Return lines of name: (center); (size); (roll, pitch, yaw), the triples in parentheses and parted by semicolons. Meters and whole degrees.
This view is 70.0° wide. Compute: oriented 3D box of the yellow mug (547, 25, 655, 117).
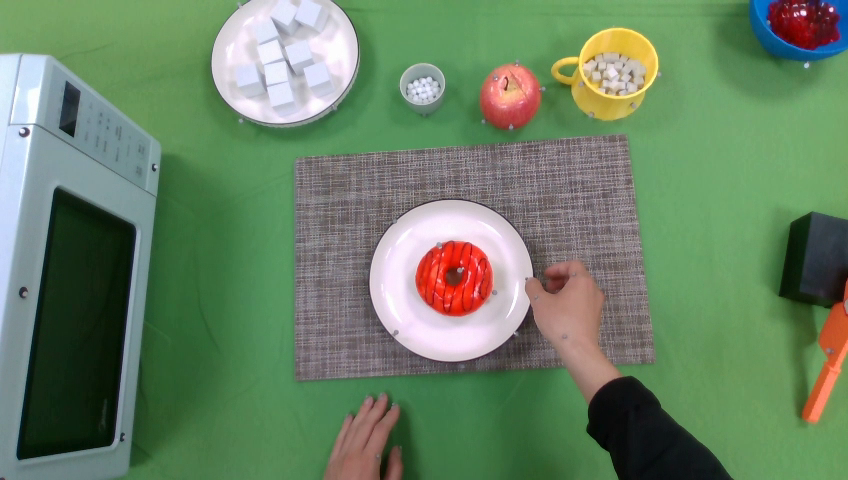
yellow mug: (0.229, -0.224, 0.799); (0.131, 0.064, 0.099); (7, 78, 6)

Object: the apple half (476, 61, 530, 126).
apple half: (0.097, -0.185, 0.797); (0.053, 0.075, 0.080); (-30, 81, 2)

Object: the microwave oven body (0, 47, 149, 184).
microwave oven body: (-0.531, 0.047, 0.688); (0.326, 0.261, 0.439); (-1, 78, 3)

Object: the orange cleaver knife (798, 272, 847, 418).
orange cleaver knife: (0.475, 0.106, 0.698); (0.012, 0.077, 0.212); (15, 111, 9)

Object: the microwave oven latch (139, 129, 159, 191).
microwave oven latch: (-0.375, -0.106, 0.809); (0.030, 0.029, 0.079); (1, 78, 4)

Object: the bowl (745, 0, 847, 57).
bowl: (0.487, -0.298, 0.792); (0.151, 0.077, 0.150); (-1, 78, 4)

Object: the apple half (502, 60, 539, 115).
apple half: (0.131, -0.204, 0.797); (0.033, 0.081, 0.081); (-31, 77, 2)

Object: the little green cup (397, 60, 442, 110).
little green cup: (-0.004, -0.208, 0.826); (0.061, 0.039, 0.061); (-1, 77, 4)

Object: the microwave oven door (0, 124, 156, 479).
microwave oven door: (-0.385, 0.084, 0.664); (0.039, 0.245, 0.354); (-1, 77, 4)

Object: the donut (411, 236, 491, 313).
donut: (0.034, 0.043, 0.752); (0.099, 0.048, 0.098); (-1, 79, 5)

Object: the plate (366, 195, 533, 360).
plate: (0.032, 0.047, 0.763); (0.209, 0.038, 0.208); (-1, 78, 4)

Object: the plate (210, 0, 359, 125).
plate: (-0.191, -0.255, 0.849); (0.207, 0.039, 0.206); (-1, 77, 4)
